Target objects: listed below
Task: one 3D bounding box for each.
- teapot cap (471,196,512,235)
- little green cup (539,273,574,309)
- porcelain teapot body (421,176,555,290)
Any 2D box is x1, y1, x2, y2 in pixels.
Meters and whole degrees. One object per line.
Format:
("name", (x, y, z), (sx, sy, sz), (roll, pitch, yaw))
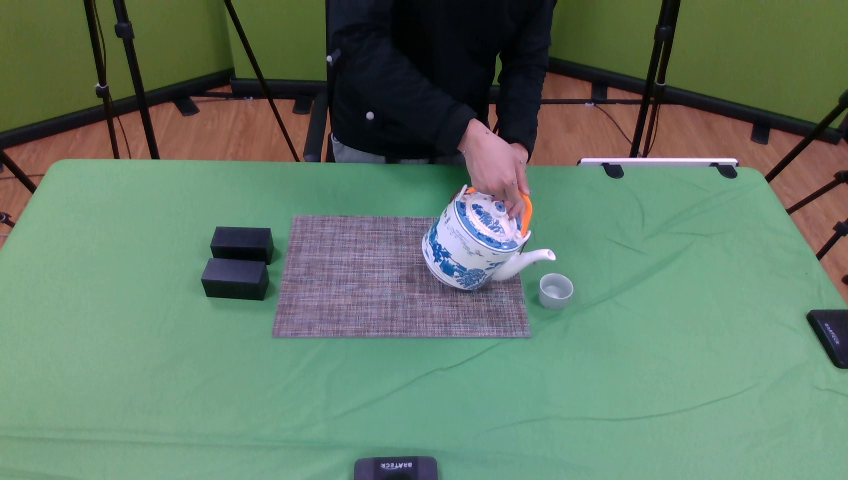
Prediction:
("teapot cap", (0.118, -0.044, 1.031), (0.085, 0.044, 0.084), (19, 47, -22))
("little green cup", (0.240, 0.096, 1.113), (0.061, 0.039, 0.061), (3, 47, -3))
("porcelain teapot body", (0.125, -0.005, 1.062), (0.205, 0.226, 0.144), (34, 42, -5))
